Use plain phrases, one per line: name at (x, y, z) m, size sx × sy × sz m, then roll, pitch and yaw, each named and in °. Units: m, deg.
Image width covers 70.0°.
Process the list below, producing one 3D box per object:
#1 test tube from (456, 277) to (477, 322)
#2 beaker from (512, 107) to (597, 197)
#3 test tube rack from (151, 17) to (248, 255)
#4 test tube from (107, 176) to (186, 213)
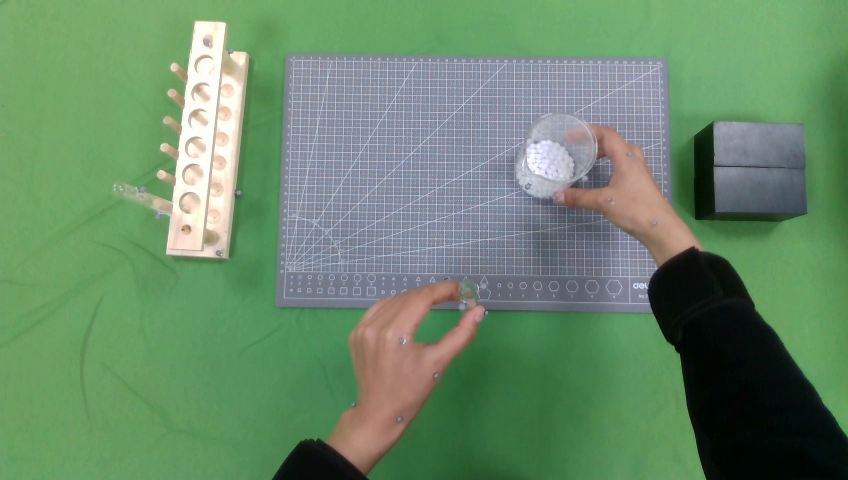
test tube at (0.037, 0.055, 0.538) m, size 0.017 × 0.151 × 0.017 m, roll -1°, pitch 74°, yaw 4°
beaker at (0.133, -0.087, 0.652) m, size 0.084 × 0.100 × 0.074 m, roll -36°, pitch 84°, yaw -4°
test tube rack at (-0.249, -0.110, 0.663) m, size 0.067 × 0.085 × 0.241 m, roll 4°, pitch 83°, yaw 0°
test tube at (-0.276, -0.043, 0.610) m, size 0.017 × 0.151 × 0.017 m, roll 0°, pitch 84°, yaw 0°
